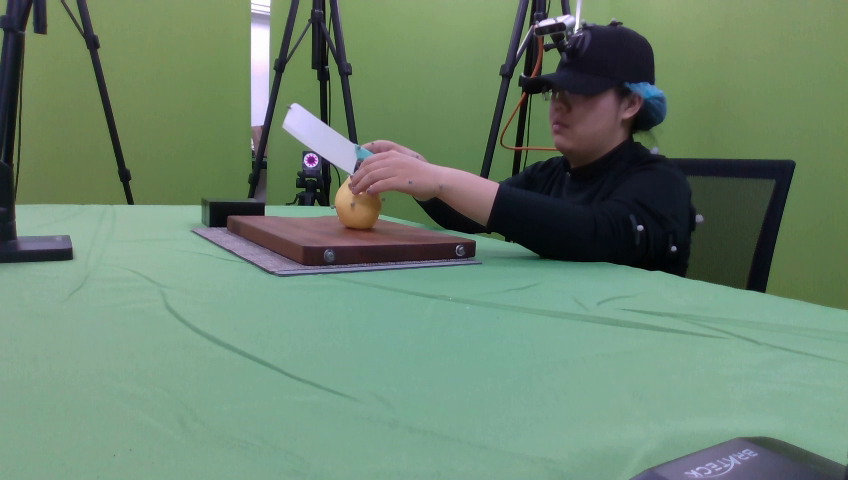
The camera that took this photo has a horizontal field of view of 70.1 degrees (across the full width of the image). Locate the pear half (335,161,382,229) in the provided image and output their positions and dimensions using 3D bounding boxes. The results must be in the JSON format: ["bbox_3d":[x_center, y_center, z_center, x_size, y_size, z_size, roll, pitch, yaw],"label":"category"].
[{"bbox_3d":[-0.099,-0.072,0.975,0.077,0.110,0.055,-10,14,-43],"label":"pear half"}]

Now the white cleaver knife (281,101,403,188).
[{"bbox_3d":[-0.142,-0.157,1.103,0.021,0.066,0.288,-1,-22,44],"label":"white cleaver knife"}]

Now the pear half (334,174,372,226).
[{"bbox_3d":[-0.123,-0.067,1.003,0.071,0.088,0.031,-15,17,-43],"label":"pear half"}]
